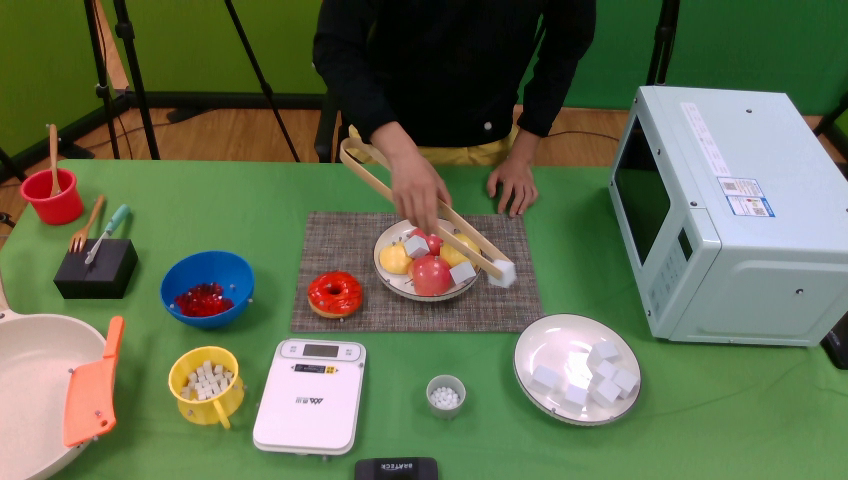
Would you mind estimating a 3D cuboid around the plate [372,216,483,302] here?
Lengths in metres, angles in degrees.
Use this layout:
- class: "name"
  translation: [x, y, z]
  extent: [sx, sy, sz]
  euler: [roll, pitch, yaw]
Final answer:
- class: "plate"
  translation: [0.006, 0.038, 1.145]
  extent: [0.209, 0.038, 0.208]
  euler: [2, 46, -2]

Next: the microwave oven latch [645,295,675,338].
- class: "microwave oven latch"
  translation: [0.411, 0.134, 1.061]
  extent: [0.030, 0.029, 0.078]
  euler: [3, 45, 0]

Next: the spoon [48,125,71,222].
- class: "spoon"
  translation: [-0.718, -0.131, 1.188]
  extent: [0.041, 0.021, 0.193]
  euler: [-3, 90, -7]

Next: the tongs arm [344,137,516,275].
- class: "tongs arm"
  translation: [0.001, -0.063, 1.045]
  extent: [0.051, 0.026, 0.383]
  euler: [-33, 65, -32]

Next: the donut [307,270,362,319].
- class: "donut"
  translation: [-0.158, 0.096, 1.073]
  extent: [0.099, 0.048, 0.098]
  euler: [4, 46, -4]

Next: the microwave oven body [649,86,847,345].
- class: "microwave oven body"
  translation: [0.567, -0.053, 1.118]
  extent: [0.326, 0.261, 0.439]
  euler: [2, 45, -1]

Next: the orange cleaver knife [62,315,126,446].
- class: "orange cleaver knife"
  translation: [-0.480, 0.199, 0.887]
  extent: [0.077, 0.012, 0.210]
  euler: [-9, 47, -8]

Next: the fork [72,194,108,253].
- class: "fork"
  translation: [-0.634, -0.036, 1.158]
  extent: [0.028, 0.019, 0.206]
  euler: [-8, 31, -8]

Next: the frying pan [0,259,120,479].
- class: "frying pan"
  translation: [-0.647, 0.164, 0.936]
  extent: [0.307, 0.103, 0.485]
  euler: [-19, 58, -22]

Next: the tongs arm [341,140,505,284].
- class: "tongs arm"
  translation: [-0.014, -0.052, 1.032]
  extent: [0.386, 0.028, 0.028]
  euler: [39, 57, 19]

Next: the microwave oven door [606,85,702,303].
- class: "microwave oven door"
  translation: [0.423, -0.094, 1.140]
  extent: [0.039, 0.245, 0.353]
  euler: [2, 46, -1]

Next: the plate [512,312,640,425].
- class: "plate"
  translation: [0.246, 0.213, 0.999]
  extent: [0.208, 0.039, 0.206]
  euler: [2, 46, -2]

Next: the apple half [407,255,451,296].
- class: "apple half"
  translation: [0.011, 0.058, 1.103]
  extent: [0.075, 0.053, 0.080]
  euler: [-6, 43, -14]

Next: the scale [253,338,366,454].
- class: "scale"
  translation: [-0.175, 0.236, 0.951]
  extent: [0.149, 0.032, 0.199]
  euler: [5, 45, 0]

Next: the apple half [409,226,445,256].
- class: "apple half"
  translation: [0.011, -0.006, 1.175]
  extent: [0.081, 0.033, 0.081]
  euler: [1, 50, -1]

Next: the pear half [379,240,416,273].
- class: "pear half"
  translation: [-0.048, 0.024, 1.146]
  extent: [0.070, 0.031, 0.087]
  euler: [12, 47, -11]

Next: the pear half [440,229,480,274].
- class: "pear half"
  translation: [0.065, 0.007, 1.150]
  extent: [0.076, 0.056, 0.109]
  euler: [-10, 43, -2]

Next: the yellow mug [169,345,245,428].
- class: "yellow mug"
  translation: [-0.322, 0.230, 0.922]
  extent: [0.100, 0.064, 0.130]
  euler: [-24, 53, -25]

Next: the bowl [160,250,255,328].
- class: "bowl"
  translation: [-0.362, 0.098, 1.040]
  extent: [0.151, 0.077, 0.150]
  euler: [2, 45, -2]

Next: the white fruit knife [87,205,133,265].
- class: "white fruit knife"
  translation: [-0.584, -0.013, 1.129]
  extent: [0.016, 0.027, 0.206]
  euler: [-1, 32, -4]

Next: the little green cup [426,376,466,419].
- class: "little green cup"
  translation: [0.033, 0.248, 0.950]
  extent: [0.061, 0.039, 0.061]
  euler: [2, 46, -2]
